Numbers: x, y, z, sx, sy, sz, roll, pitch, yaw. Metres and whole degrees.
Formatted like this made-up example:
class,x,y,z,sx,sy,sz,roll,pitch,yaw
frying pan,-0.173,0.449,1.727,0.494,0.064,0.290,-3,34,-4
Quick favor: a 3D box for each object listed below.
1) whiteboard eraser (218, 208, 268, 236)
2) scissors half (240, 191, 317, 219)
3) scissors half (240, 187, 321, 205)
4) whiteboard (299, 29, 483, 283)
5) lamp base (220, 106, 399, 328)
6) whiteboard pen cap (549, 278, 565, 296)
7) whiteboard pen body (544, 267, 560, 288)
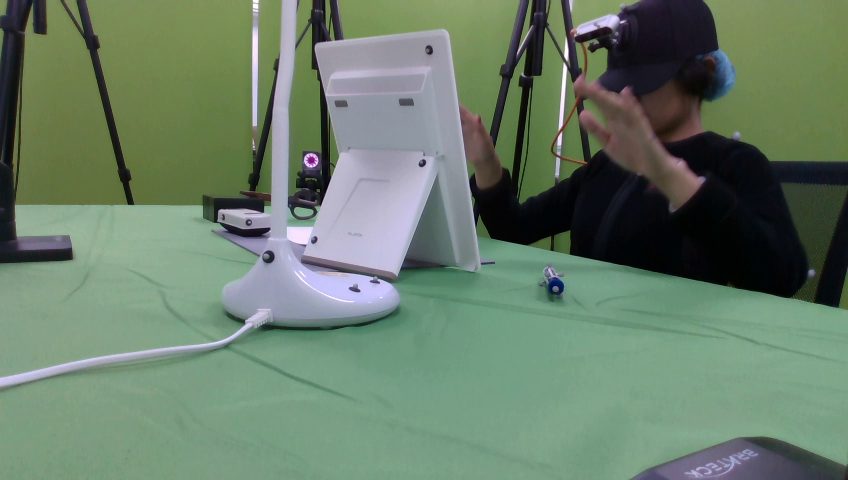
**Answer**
class,x,y,z,sx,sy,sz,roll,pitch,yaw
whiteboard eraser,-0.309,-0.031,1.044,0.056,0.042,0.112,-2,9,-40
scissors half,-0.317,-0.079,1.326,0.176,0.040,0.013,18,16,-31
scissors half,-0.311,-0.097,1.319,0.176,0.040,0.012,-1,30,-25
whiteboard,-0.074,-0.082,0.742,0.216,0.305,0.144,9,29,38
lamp base,-0.101,-0.023,0.531,0.160,0.180,0.179,4,10,10
whiteboard pen cap,0.140,0.049,0.639,0.018,0.018,0.033,4,2,9
whiteboard pen body,0.149,0.046,0.697,0.017,0.017,0.141,4,4,9
